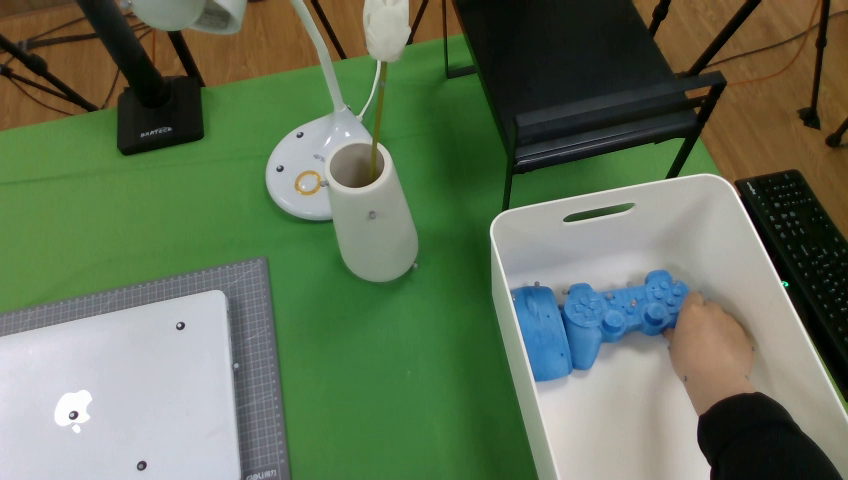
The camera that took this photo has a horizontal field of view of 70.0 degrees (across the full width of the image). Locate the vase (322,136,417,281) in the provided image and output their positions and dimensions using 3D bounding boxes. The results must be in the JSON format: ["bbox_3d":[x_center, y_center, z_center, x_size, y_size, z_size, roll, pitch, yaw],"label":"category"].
[{"bbox_3d":[-0.063,-0.031,0.692,0.098,0.202,0.097,-2,61,4],"label":"vase"}]

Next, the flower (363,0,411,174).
[{"bbox_3d":[-0.054,-0.081,0.624,0.038,0.364,0.043,-17,52,-25],"label":"flower"}]

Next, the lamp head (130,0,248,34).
[{"bbox_3d":[-0.182,-0.241,0.479,0.112,0.113,0.122,15,82,11],"label":"lamp head"}]

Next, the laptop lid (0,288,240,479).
[{"bbox_3d":[-0.390,0.195,0.678,0.357,0.013,0.239,-11,65,-3],"label":"laptop lid"}]

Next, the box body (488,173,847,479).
[{"bbox_3d":[0.222,0.139,0.608,0.254,0.162,0.360,-11,62,-2],"label":"box body"}]

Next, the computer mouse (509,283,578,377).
[{"bbox_3d":[0.131,0.100,0.697,0.063,0.041,0.116,-14,54,-3],"label":"computer mouse"}]

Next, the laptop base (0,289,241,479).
[{"bbox_3d":[-0.390,0.198,0.689,0.354,0.023,0.233,-12,66,-4],"label":"laptop base"}]

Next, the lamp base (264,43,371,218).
[{"bbox_3d":[-0.138,-0.147,0.767,0.160,0.182,0.178,18,62,12],"label":"lamp base"}]

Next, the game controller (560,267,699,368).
[{"bbox_3d":[0.232,0.084,0.695,0.155,0.052,0.096,-9,60,-1],"label":"game controller"}]
